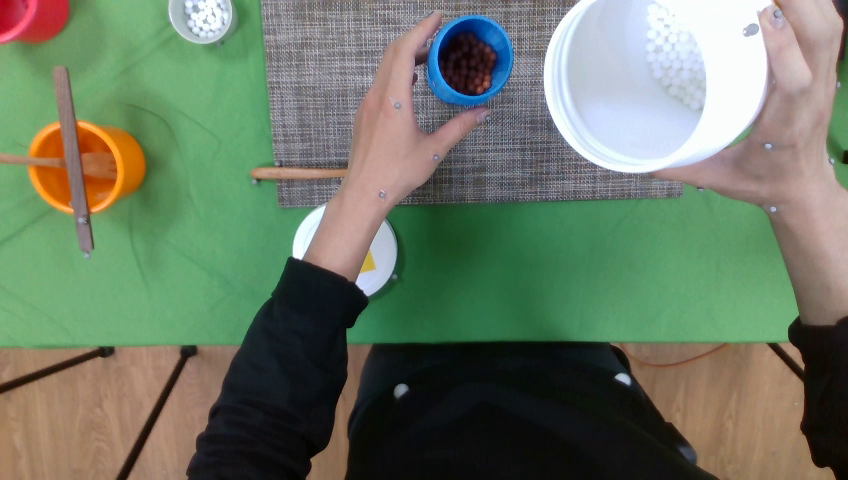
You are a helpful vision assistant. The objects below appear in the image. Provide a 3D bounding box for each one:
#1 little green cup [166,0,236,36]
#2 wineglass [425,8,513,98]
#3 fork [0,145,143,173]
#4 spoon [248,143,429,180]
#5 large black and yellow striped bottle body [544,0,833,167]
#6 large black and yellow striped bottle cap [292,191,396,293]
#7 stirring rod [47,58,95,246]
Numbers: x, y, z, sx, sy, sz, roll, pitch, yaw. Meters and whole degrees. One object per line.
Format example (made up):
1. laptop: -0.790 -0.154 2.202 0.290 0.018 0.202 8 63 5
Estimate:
1. little green cup: -0.218 -0.232 0.600 0.061 0.038 0.062 0 104 -1
2. wineglass: 0.036 -0.166 0.554 0.074 0.171 0.074 -1 103 -2
3. fork: -0.376 -0.083 0.573 0.209 0.018 0.028 0 114 -47
4. spoon: -0.092 -0.081 0.646 0.194 0.021 0.042 -2 124 -2
5. large black and yellow striped bottle body: 0.176 -0.131 0.406 0.184 0.130 0.131 -32 106 -36
6. large black and yellow striped bottle cap: -0.088 0.003 0.673 0.115 0.018 0.115 -1 107 -3
7. stirring rod: -0.333 -0.080 0.572 0.014 0.006 0.177 -2 104 -1
